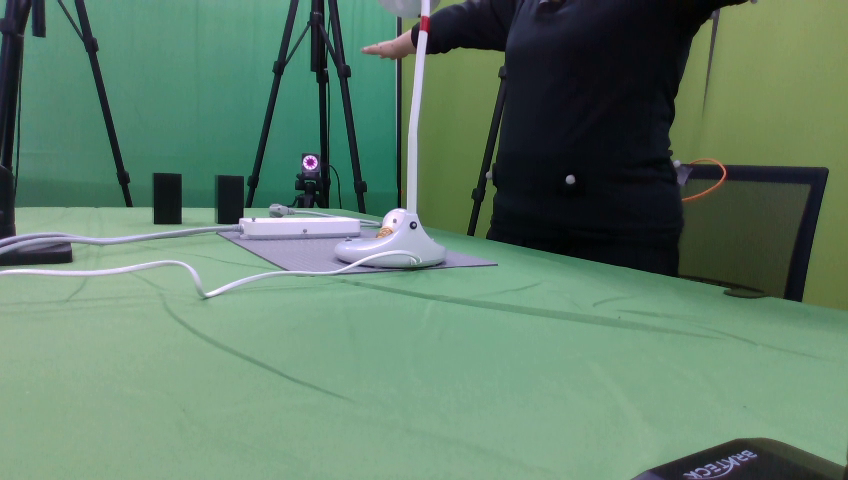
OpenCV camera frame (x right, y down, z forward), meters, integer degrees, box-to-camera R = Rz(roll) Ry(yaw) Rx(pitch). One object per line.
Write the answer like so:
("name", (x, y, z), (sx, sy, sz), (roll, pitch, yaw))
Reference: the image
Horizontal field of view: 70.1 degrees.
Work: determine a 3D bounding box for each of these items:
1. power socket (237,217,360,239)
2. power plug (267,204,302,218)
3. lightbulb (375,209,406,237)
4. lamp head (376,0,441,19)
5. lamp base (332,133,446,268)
("power socket", (-0.221, -0.023, 1.080), (0.228, 0.032, 0.072), (-2, 8, -32))
("power plug", (-0.327, -0.060, 1.404), (0.073, 0.035, 0.052), (23, -16, -25))
("lightbulb", (-0.052, -0.016, 1.023), (0.059, 0.059, 0.108), (6, 23, 22))
("lamp head", (-0.012, -0.373, 0.822), (0.113, 0.112, 0.122), (1, 0, -14))
("lamp base", (-0.038, -0.058, 0.833), (0.161, 0.180, 0.178), (-2, 11, -32))
